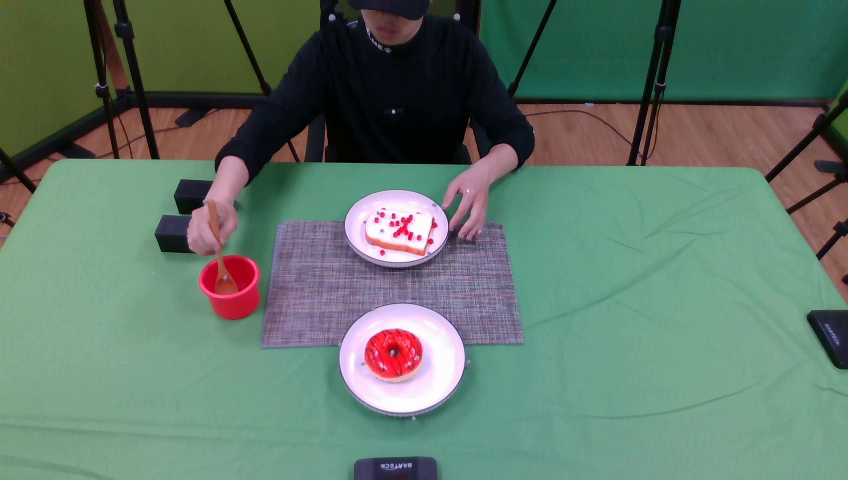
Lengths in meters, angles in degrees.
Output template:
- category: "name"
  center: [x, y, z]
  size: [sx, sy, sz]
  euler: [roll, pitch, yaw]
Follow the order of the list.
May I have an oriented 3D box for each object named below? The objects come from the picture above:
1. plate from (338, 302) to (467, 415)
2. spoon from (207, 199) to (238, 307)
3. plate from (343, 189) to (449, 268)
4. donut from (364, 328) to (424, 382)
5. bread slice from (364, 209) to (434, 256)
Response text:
- category: "plate"
  center: [-0.035, 0.194, 0.992]
  size: [0.208, 0.039, 0.206]
  euler: [2, 48, -2]
- category: "spoon"
  center: [-0.340, 0.025, 1.007]
  size: [0.041, 0.194, 0.021]
  euler: [1, 26, 2]
- category: "plate"
  center: [-0.055, -0.019, 1.195]
  size: [0.209, 0.038, 0.208]
  euler: [3, 46, -2]
- category: "donut"
  center: [-0.049, 0.185, 0.984]
  size: [0.099, 0.048, 0.098]
  euler: [1, 45, -1]
- category: "bread slice"
  center: [-0.053, -0.020, 1.199]
  size: [0.131, 0.019, 0.104]
  euler: [10, 46, 4]
